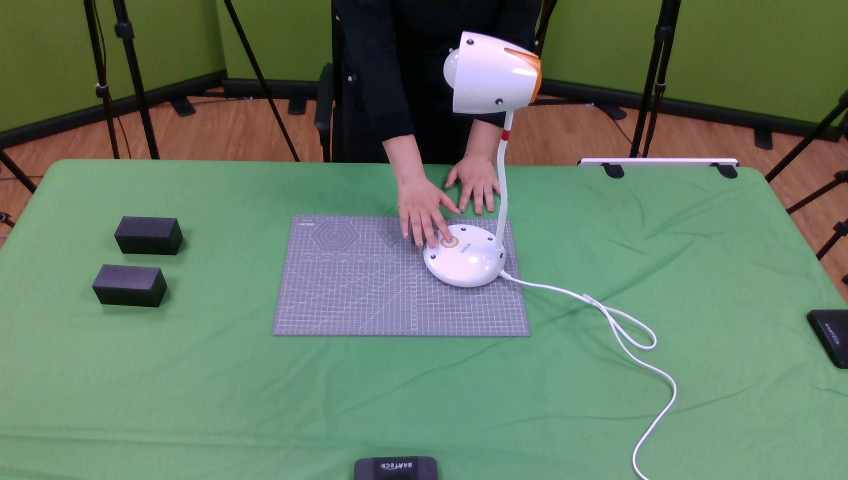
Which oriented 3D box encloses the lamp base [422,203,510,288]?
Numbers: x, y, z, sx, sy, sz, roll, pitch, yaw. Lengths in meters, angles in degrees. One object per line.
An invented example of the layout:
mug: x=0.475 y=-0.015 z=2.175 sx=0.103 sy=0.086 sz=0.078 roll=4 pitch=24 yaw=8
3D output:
lamp base: x=0.092 y=-0.021 z=1.111 sx=0.179 sy=0.181 sz=0.160 roll=23 pitch=49 yaw=14

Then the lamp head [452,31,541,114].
lamp head: x=0.102 y=-0.228 z=0.858 sx=0.123 sy=0.113 sz=0.112 roll=11 pitch=46 yaw=0
